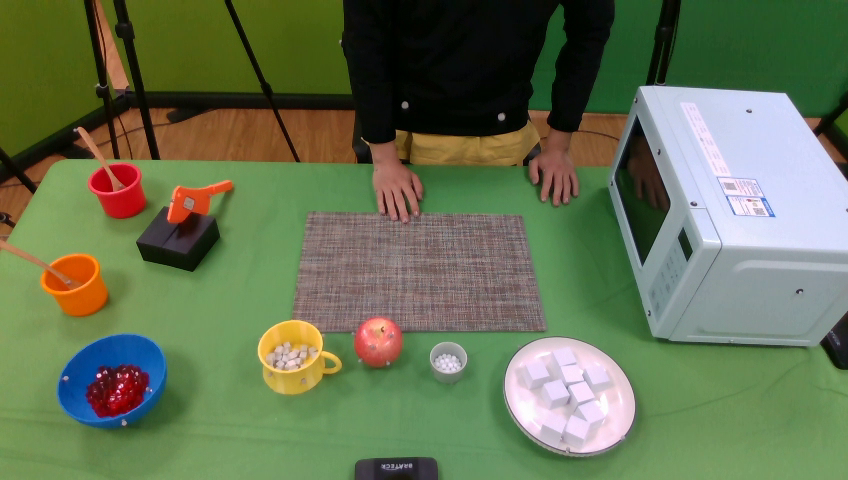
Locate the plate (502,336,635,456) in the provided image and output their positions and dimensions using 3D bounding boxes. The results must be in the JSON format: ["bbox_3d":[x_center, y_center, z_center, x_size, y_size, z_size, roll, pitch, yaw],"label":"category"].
[{"bbox_3d":[0.225,0.248,0.963,0.208,0.039,0.206,2,46,-2],"label":"plate"}]

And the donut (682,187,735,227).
[{"bbox_3d":[0.554,-0.066,1.183,0.099,0.048,0.098,3,45,-3],"label":"donut"}]

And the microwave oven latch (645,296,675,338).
[{"bbox_3d":[0.412,0.134,1.061,0.030,0.029,0.078,3,45,0],"label":"microwave oven latch"}]

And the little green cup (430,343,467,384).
[{"bbox_3d":[0.039,0.203,0.994,0.061,0.039,0.061,2,46,-2],"label":"little green cup"}]

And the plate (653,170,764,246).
[{"bbox_3d":[0.556,-0.059,1.196,0.209,0.038,0.208,1,45,-1],"label":"plate"}]

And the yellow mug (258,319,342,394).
[{"bbox_3d":[-0.195,0.189,0.972,0.131,0.064,0.099,9,46,4],"label":"yellow mug"}]

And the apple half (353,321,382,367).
[{"bbox_3d":[-0.098,0.177,0.984,0.033,0.081,0.081,-17,49,-25],"label":"apple half"}]

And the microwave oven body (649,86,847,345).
[{"bbox_3d":[0.567,-0.053,1.118,0.326,0.261,0.439,2,45,-1],"label":"microwave oven body"}]

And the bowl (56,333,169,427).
[{"bbox_3d":[-0.456,0.223,0.912,0.151,0.077,0.150,3,46,-2],"label":"bowl"}]

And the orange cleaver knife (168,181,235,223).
[{"bbox_3d":[-0.436,-0.078,1.196,0.012,0.077,0.211,16,15,10],"label":"orange cleaver knife"}]

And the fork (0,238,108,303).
[{"bbox_3d":[-0.633,0.048,1.017,0.208,0.018,0.028,40,41,-27],"label":"fork"}]

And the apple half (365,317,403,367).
[{"bbox_3d":[-0.063,0.165,1.000,0.053,0.075,0.080,-16,45,-24],"label":"apple half"}]

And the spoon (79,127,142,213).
[{"bbox_3d":[-0.624,-0.139,1.203,0.041,0.021,0.194,-33,100,-26],"label":"spoon"}]

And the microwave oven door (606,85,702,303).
[{"bbox_3d":[0.423,-0.094,1.140,0.039,0.245,0.353,2,46,-1],"label":"microwave oven door"}]
